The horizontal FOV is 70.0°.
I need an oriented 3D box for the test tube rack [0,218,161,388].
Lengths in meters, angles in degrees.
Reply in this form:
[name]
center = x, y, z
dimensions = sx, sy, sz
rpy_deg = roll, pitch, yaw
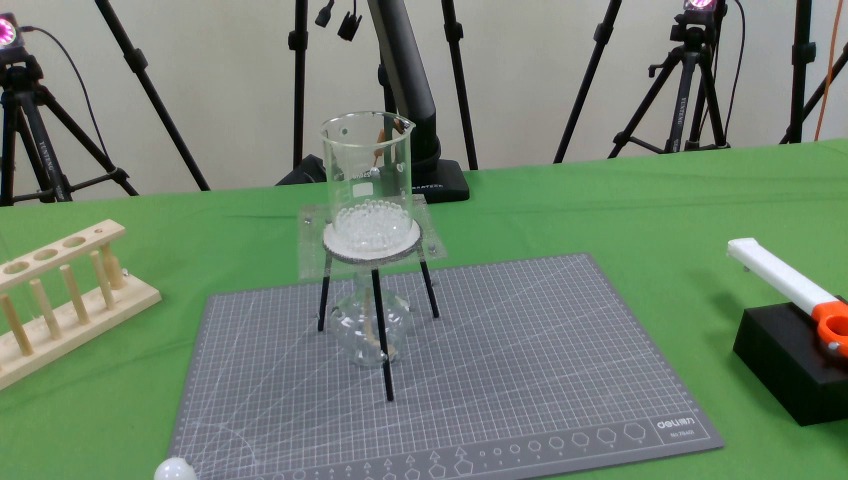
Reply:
[test tube rack]
center = -0.395, 0.072, 0.594
dimensions = 0.066, 0.086, 0.242
rpy_deg = 21, 38, 31

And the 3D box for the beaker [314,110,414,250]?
[beaker]
center = -0.045, -0.050, 0.507
dimensions = 0.084, 0.101, 0.073
rpy_deg = -18, 37, -25

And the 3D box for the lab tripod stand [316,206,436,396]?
[lab tripod stand]
center = -0.044, 0.048, 0.566
dimensions = 0.148, 0.132, 0.147
rpy_deg = 0, 33, 0

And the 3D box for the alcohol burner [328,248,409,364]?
[alcohol burner]
center = -0.053, 0.058, 0.570
dimensions = 0.078, 0.120, 0.077
rpy_deg = 0, 31, 0

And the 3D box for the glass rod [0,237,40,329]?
[glass rod]
center = -0.410, 0.002, 0.582
dimensions = 0.008, 0.201, 0.008
rpy_deg = -5, 25, 3

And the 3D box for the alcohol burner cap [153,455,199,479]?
[alcohol burner cap]
center = -0.183, 0.179, 0.448
dimensions = 0.034, 0.048, 0.033
rpy_deg = 1, 33, 0

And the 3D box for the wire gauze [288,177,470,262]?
[wire gauze]
center = -0.041, -0.019, 0.520
dimensions = 0.125, 0.011, 0.120
rpy_deg = -14, 32, -27

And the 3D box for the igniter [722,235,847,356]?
[igniter]
center = 0.360, 0.066, 0.536
dimensions = 0.057, 0.025, 0.273
rpy_deg = -7, 29, -8
